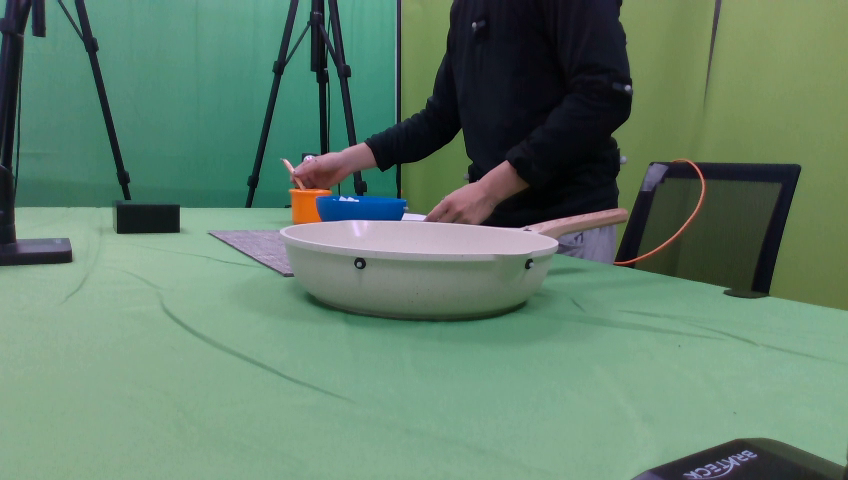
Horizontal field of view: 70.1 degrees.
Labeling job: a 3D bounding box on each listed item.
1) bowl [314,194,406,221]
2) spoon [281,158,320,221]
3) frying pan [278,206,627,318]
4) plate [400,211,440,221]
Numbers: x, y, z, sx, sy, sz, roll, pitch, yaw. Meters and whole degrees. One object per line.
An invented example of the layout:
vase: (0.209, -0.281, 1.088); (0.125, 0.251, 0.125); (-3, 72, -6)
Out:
bowl: (-0.105, -0.032, 0.991); (0.151, 0.077, 0.151); (2, 7, 0)
spoon: (-0.271, -0.113, 1.333); (0.042, 0.193, 0.021); (-7, -32, -41)
frying pan: (0.079, 0.002, 0.705); (0.490, 0.102, 0.305); (-12, 15, -33)
plate: (-0.073, -0.035, 1.196); (0.208, 0.039, 0.207); (4, 6, 0)
